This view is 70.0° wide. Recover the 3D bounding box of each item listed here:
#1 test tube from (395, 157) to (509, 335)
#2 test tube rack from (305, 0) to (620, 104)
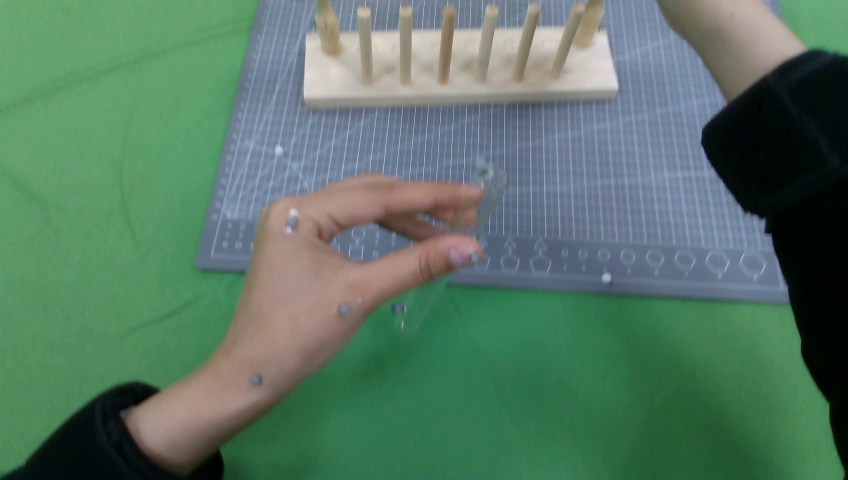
[{"bbox_3d":[0.009,0.012,0.313,0.017,0.151,0.017,10,53,-13],"label":"test tube"},{"bbox_3d":[0.029,-0.157,0.449,0.242,0.086,0.066,-2,65,-2],"label":"test tube rack"}]
